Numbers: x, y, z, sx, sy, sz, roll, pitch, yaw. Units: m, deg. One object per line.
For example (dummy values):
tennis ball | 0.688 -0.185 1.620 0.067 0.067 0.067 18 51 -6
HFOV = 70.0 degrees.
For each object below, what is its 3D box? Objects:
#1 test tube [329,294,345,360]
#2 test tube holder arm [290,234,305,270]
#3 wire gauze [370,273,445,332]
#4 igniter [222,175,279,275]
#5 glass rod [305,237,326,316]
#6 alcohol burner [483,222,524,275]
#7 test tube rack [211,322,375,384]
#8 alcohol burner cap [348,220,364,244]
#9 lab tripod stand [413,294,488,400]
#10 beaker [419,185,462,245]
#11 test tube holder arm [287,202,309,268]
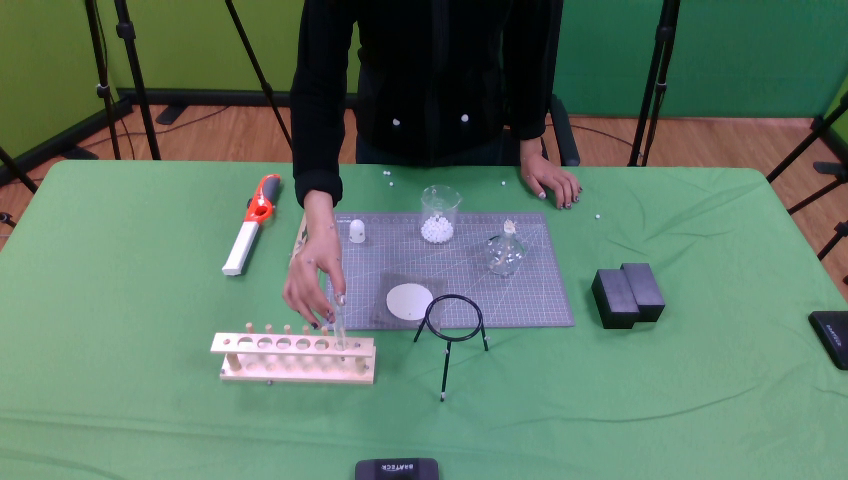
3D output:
test tube | -0.127 0.132 0.895 0.017 0.151 0.017 1 46 -1
test tube holder arm | -0.242 0.021 1.164 0.010 0.015 0.087 29 39 -25
wire gauze | -0.028 0.109 1.099 0.125 0.011 0.121 8 45 4
igniter | -0.341 -0.039 1.206 0.057 0.025 0.275 -1 45 9
glass rod | -0.202 0.063 1.131 0.008 0.008 0.198 3 44 0
alcohol burner | 0.152 0.010 1.136 0.078 0.119 0.077 4 46 -4
test tube rack | -0.203 0.176 0.969 0.242 0.085 0.066 3 46 -2
alcohol burner cap | -0.134 -0.019 1.190 0.034 0.048 0.033 2 46 -2
lab tripod stand | 0.044 0.159 0.972 0.148 0.132 0.147 3 44 -2
beaker | 0.029 -0.047 1.191 0.084 0.101 0.073 -5 47 -10
test tube holder arm | -0.246 -0.013 1.193 0.013 0.015 0.177 29 39 -25
